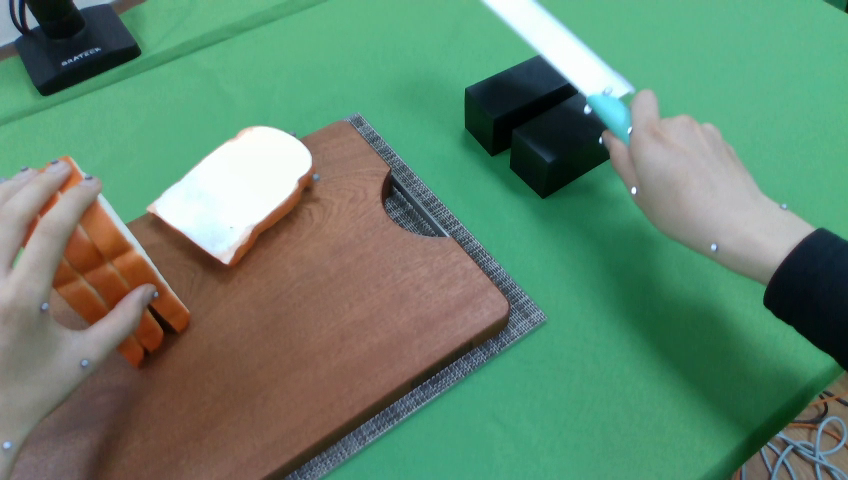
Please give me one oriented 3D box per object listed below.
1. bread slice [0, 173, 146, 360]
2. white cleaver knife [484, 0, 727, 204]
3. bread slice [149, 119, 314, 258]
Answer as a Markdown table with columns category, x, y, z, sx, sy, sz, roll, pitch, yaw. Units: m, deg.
| category | x | y | z | sx | sy | sz | roll | pitch | yaw |
| --- | --- | --- | --- | --- | --- | --- | --- | --- | --- |
| bread slice | -0.248 | 0.014 | 0.429 | 0.018 | 0.135 | 0.106 | -34 | 54 | -18 |
| white cleaver knife | 0.142 | -0.139 | 0.503 | 0.066 | 0.021 | 0.285 | -33 | 75 | -33 |
| bread slice | -0.159 | -0.051 | 0.531 | 0.104 | 0.019 | 0.131 | 30 | 66 | 25 |
